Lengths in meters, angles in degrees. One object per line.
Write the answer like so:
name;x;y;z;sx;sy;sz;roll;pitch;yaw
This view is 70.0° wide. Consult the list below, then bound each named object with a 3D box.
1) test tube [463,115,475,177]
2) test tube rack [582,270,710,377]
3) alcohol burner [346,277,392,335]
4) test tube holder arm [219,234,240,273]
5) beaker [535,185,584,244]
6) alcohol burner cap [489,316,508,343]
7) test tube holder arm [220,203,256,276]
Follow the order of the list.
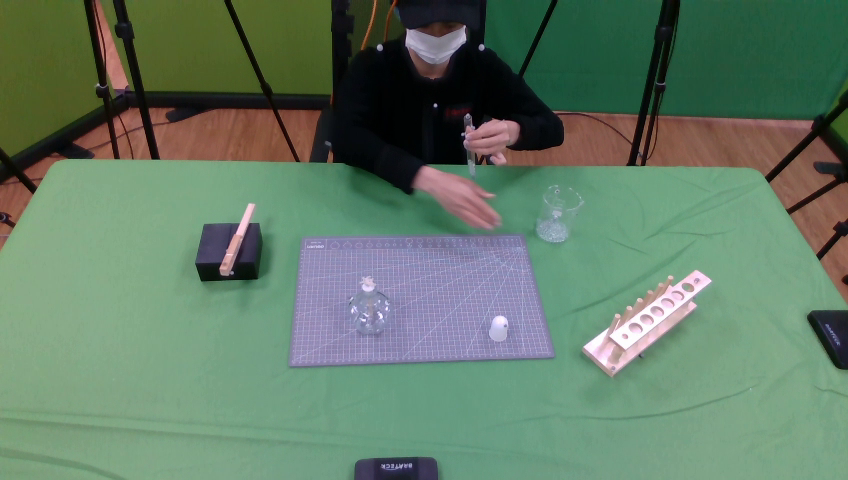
test tube;0.088;-0.180;1.184;0.017;0.151;0.017;-4;49;5
test tube rack;0.389;0.132;1.057;0.242;0.085;0.066;-28;53;-28
alcohol burner;-0.093;0.106;1.021;0.078;0.120;0.077;1;46;-1
test tube holder arm;-0.344;0.023;1.076;0.015;0.010;0.087;5;45;2
beaker;0.268;-0.048;1.213;0.084;0.101;0.073;6;46;0
alcohol burner cap;0.130;0.151;1.045;0.034;0.048;0.033;2;46;-2
test tube holder arm;-0.340;-0.005;1.112;0.015;0.013;0.177;5;46;2
